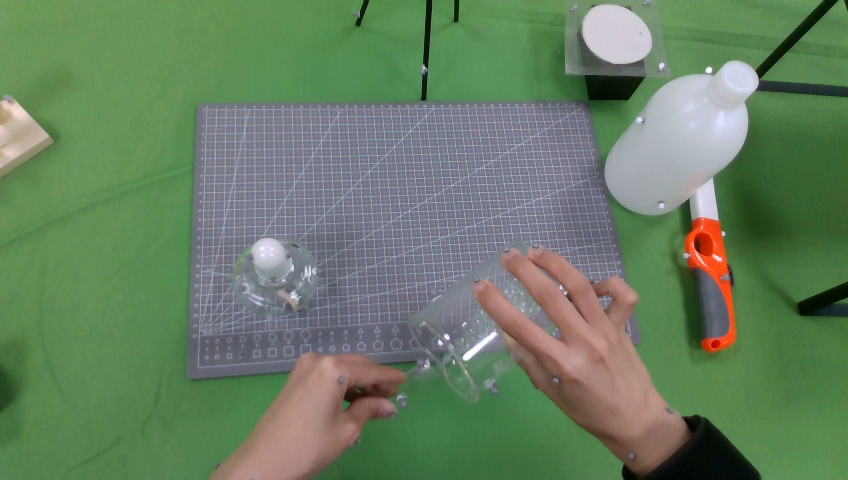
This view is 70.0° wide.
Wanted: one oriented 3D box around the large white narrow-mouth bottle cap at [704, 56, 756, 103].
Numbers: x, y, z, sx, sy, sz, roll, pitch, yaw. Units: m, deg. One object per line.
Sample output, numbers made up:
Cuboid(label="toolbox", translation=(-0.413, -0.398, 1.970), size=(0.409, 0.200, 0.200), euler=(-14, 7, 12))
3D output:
Cuboid(label="large white narrow-mouth bottle cap", translation=(0.271, -0.143, 0.537), size=(0.038, 0.024, 0.037), euler=(3, 69, -6))

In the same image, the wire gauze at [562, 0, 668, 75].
Cuboid(label="wire gauze", translation=(0.220, -0.246, 0.710), size=(0.122, 0.011, 0.124), euler=(5, 68, -6))

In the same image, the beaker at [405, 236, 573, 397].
Cuboid(label="beaker", translation=(0.048, 0.051, 0.431), size=(0.100, 0.084, 0.073), euler=(-37, 77, -17))

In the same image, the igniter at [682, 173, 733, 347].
Cuboid(label="igniter", translation=(0.311, -0.016, 0.677), size=(0.057, 0.025, 0.274), euler=(10, 68, -18))

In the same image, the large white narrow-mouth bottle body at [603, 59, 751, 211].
Cuboid(label="large white narrow-mouth bottle body", translation=(0.261, -0.110, 0.616), size=(0.102, 0.195, 0.101), euler=(2, 68, -6))

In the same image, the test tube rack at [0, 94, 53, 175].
Cuboid(label="test tube rack", translation=(-0.485, -0.064, 0.553), size=(0.066, 0.085, 0.242), euler=(43, 70, 9))

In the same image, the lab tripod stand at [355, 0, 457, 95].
Cuboid(label="lab tripod stand", translation=(-0.006, -0.259, 0.669), size=(0.149, 0.132, 0.147), euler=(3, 70, -8))

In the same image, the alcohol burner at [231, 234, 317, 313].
Cuboid(label="alcohol burner", translation=(-0.137, 0.025, 0.551), size=(0.078, 0.119, 0.077), euler=(4, 67, -8))

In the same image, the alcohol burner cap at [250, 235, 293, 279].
Cuboid(label="alcohol burner cap", translation=(-0.132, 0.013, 0.517), size=(0.034, 0.048, 0.033), euler=(1, 74, -4))

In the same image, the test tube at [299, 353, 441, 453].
Cuboid(label="test tube", translation=(-0.046, 0.132, 0.479), size=(0.150, 0.017, 0.017), euler=(-37, 74, 22))
